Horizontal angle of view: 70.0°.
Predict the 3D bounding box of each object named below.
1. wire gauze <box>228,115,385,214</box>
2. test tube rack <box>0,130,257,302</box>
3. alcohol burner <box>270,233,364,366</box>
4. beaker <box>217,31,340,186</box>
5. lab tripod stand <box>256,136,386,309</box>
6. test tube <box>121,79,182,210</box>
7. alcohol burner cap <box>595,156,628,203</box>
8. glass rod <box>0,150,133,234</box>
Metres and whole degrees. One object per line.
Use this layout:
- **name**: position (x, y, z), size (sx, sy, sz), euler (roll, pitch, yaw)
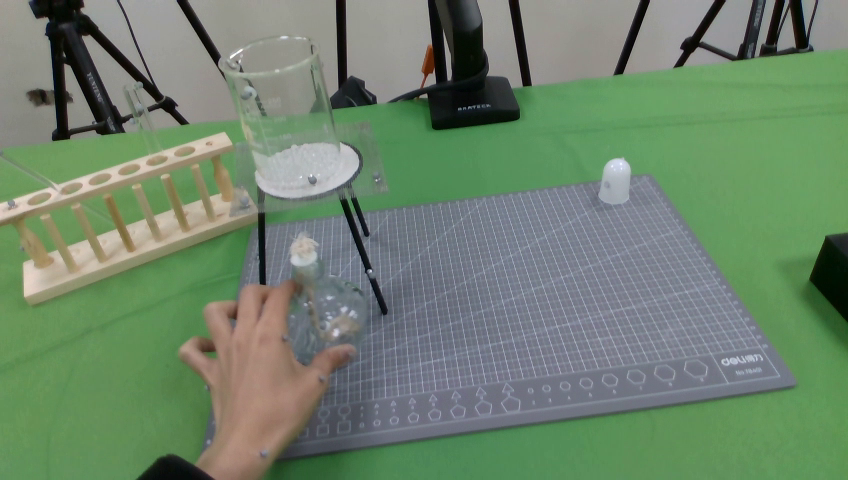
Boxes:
- **wire gauze**: position (-0.101, -0.064, 0.506), size (0.125, 0.011, 0.120), euler (-13, 37, -3)
- **test tube rack**: position (-0.311, -0.030, 0.642), size (0.243, 0.086, 0.066), euler (-23, 42, -19)
- **alcohol burner**: position (-0.089, 0.045, 0.491), size (0.078, 0.120, 0.077), euler (-4, 37, 4)
- **beaker**: position (-0.111, -0.100, 0.474), size (0.083, 0.101, 0.073), euler (13, 43, 24)
- **lab tripod stand**: position (-0.094, -0.014, 0.548), size (0.148, 0.133, 0.147), euler (-4, 41, 4)
- **test tube**: position (-0.285, -0.096, 0.639), size (0.017, 0.151, 0.017), euler (-3, 36, 3)
- **alcohol burner cap**: position (0.200, -0.067, 0.643), size (0.034, 0.048, 0.033), euler (-4, 39, 4)
- **glass rod**: position (-0.373, -0.058, 0.596), size (0.008, 0.202, 0.008), euler (-20, 49, 25)
